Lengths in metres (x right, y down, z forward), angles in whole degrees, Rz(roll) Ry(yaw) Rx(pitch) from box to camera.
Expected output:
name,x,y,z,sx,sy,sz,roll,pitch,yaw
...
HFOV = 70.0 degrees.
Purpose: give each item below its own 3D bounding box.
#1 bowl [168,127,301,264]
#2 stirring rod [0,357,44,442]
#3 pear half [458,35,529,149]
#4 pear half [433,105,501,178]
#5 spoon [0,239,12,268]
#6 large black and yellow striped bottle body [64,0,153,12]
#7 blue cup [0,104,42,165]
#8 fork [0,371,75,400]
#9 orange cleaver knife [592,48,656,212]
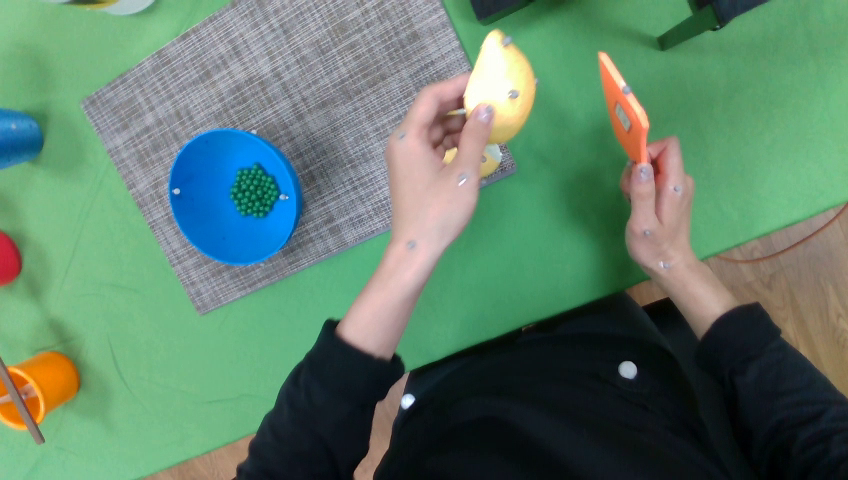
name,x,y,z,sx,sy,sz,roll,pitch,yaw
bowl,-0.200,-0.055,0.688,0.151,0.076,0.152,3,105,12
stirring rod,-0.539,0.185,0.785,0.014,0.006,0.176,-19,100,14
pear half,0.060,-0.112,0.470,0.031,0.070,0.089,24,138,37
pear half,0.036,-0.092,0.612,0.056,0.110,0.076,-44,88,18
spoon,-0.638,0.045,0.777,0.194,0.021,0.042,-24,102,-27
large black and yellow striped bottle body,-0.362,-0.309,0.605,0.130,0.183,0.131,3,104,11
blue cup,-0.524,-0.127,0.729,0.092,0.100,0.093,3,105,10
fork,-0.581,0.212,0.803,0.208,0.018,0.028,-14,115,-30
orange cleaver knife,0.178,-0.088,0.533,0.012,0.213,0.076,-31,60,10
